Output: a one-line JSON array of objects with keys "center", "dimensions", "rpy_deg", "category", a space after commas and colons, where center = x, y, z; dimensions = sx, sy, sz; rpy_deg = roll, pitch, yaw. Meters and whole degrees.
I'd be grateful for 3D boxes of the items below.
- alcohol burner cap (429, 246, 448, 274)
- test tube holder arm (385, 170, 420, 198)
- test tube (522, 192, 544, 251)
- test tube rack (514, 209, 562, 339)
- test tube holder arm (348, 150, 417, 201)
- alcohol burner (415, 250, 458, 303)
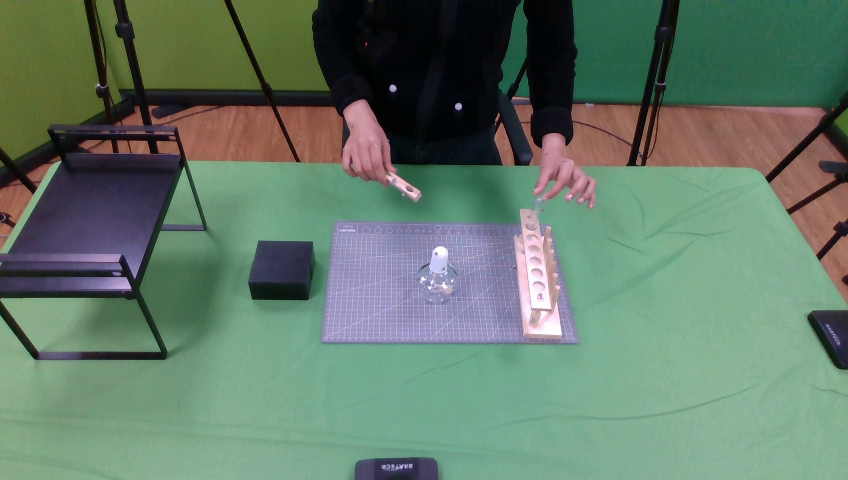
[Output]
[{"center": [0.027, 0.032, 1.052], "dimensions": [0.034, 0.048, 0.033], "rpy_deg": [4, 40, -3], "category": "alcohol burner cap"}, {"center": [-0.042, -0.103, 1.106], "dimensions": [0.087, 0.015, 0.010], "rpy_deg": [35, 69, 27], "category": "test tube holder arm"}, {"center": [0.201, -0.031, 1.126], "dimensions": [0.017, 0.151, 0.017], "rpy_deg": [2, 48, -2], "category": "test tube"}, {"center": [0.212, 0.056, 1.113], "dimensions": [0.067, 0.085, 0.241], "rpy_deg": [3, 46, -1], "category": "test tube rack"}, {"center": [-0.079, -0.122, 1.124], "dimensions": [0.177, 0.015, 0.013], "rpy_deg": [35, 69, 26], "category": "test tube holder arm"}, {"center": [0.024, 0.057, 1.078], "dimensions": [0.078, 0.119, 0.077], "rpy_deg": [3, 44, -3], "category": "alcohol burner"}]
